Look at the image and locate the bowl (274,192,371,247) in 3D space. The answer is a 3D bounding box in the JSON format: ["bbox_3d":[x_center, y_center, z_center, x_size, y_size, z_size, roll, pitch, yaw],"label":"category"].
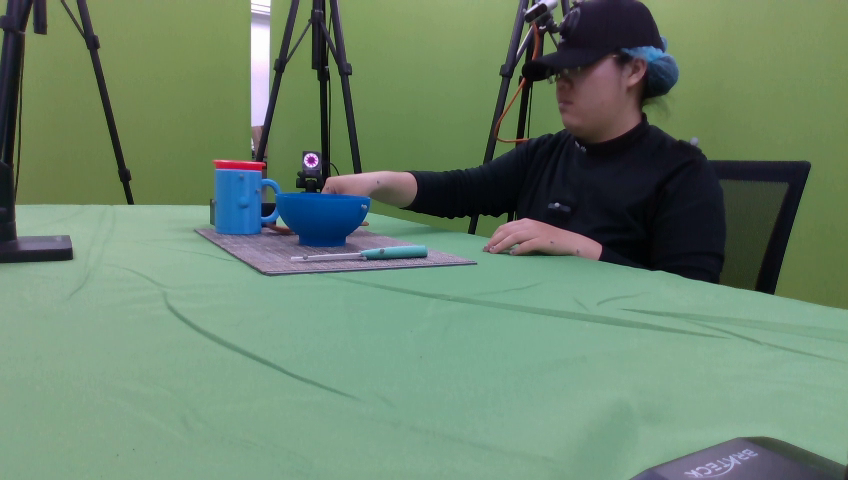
[{"bbox_3d":[-0.161,-0.033,0.958,0.151,0.077,0.151,3,7,0],"label":"bowl"}]

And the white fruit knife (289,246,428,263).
[{"bbox_3d":[-0.082,0.022,0.822,0.208,0.016,0.027,-3,-20,-30],"label":"white fruit knife"}]

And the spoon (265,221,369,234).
[{"bbox_3d":[-0.188,-0.028,1.092,0.195,0.021,0.041,-7,8,-28],"label":"spoon"}]

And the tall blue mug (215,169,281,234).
[{"bbox_3d":[-0.313,-0.069,1.061,0.077,0.108,0.108,6,8,31],"label":"tall blue mug"}]
